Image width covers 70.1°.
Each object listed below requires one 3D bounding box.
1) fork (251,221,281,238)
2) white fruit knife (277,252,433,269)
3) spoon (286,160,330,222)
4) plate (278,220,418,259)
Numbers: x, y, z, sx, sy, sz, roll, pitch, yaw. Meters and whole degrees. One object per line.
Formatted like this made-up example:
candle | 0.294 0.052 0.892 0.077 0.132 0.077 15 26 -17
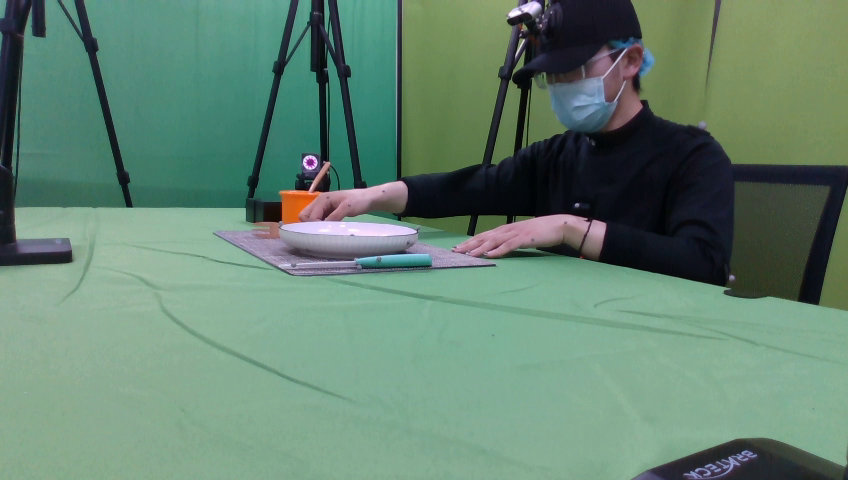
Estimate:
fork | -0.193 -0.016 1.050 0.208 0.028 0.018 2 -9 -17
white fruit knife | -0.082 0.029 0.772 0.208 0.016 0.027 -3 -20 -22
spoon | -0.233 -0.101 1.252 0.041 0.193 0.022 3 -38 23
plate | -0.114 -0.002 0.914 0.209 0.038 0.209 2 7 0
